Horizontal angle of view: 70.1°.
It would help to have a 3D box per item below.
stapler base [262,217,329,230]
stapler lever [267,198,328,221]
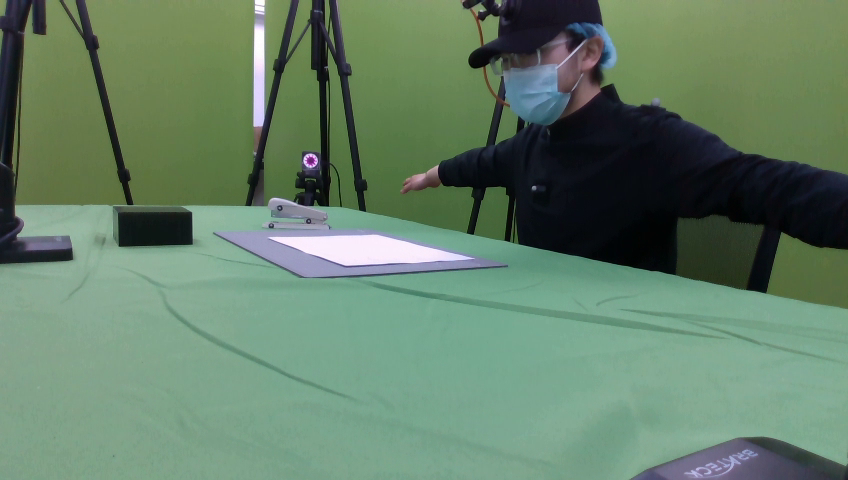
[{"bbox_3d":[-0.253,-0.036,1.201,0.131,0.024,0.041,3,10,-8],"label":"stapler base"},{"bbox_3d":[-0.250,-0.061,1.198,0.118,0.040,0.027,3,10,-8],"label":"stapler lever"}]
